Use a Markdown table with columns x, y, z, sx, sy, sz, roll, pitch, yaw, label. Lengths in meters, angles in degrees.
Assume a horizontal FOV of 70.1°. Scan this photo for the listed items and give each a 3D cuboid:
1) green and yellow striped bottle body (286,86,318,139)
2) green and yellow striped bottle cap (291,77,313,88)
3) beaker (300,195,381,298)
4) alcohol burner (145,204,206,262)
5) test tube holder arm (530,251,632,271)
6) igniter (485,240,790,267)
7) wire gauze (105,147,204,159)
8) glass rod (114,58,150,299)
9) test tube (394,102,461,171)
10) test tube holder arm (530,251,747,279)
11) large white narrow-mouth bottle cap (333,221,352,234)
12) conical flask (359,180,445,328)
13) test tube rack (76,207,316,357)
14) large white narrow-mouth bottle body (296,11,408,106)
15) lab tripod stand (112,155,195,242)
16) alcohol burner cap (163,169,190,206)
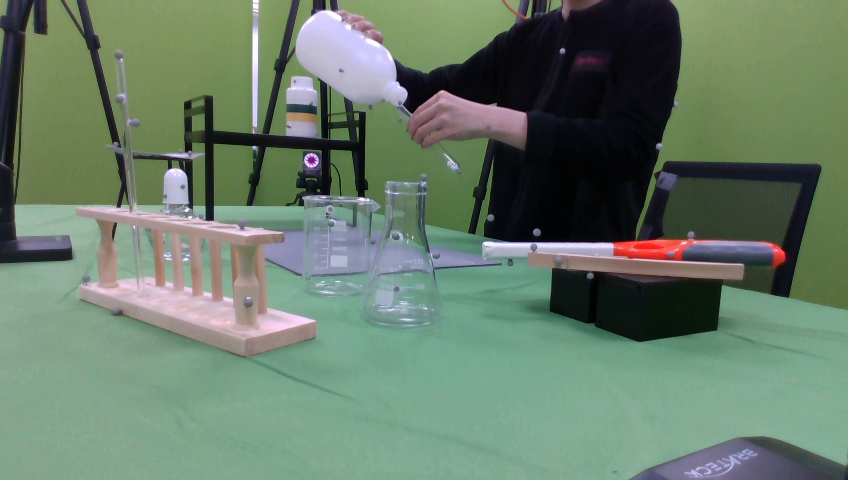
| x | y | z | sx | sy | sz | roll | pitch | yaw | label |
| --- | --- | --- | --- | --- | --- | --- | --- | --- | --- |
| -0.251 | -0.270 | 1.245 | 0.063 | 0.119 | 0.063 | 2 | 7 | 0 | green and yellow striped bottle body |
| -0.250 | -0.321 | 1.238 | 0.045 | 0.020 | 0.045 | 3 | 6 | 0 | green and yellow striped bottle cap |
| -0.087 | 0.006 | 0.626 | 0.084 | 0.100 | 0.074 | 1 | 8 | -17 | beaker |
| -0.322 | -0.032 | 0.788 | 0.078 | 0.119 | 0.078 | 0 | 7 | 0 | alcohol burner |
| 0.139 | 0.019 | 0.538 | 0.087 | 0.015 | 0.010 | 3 | 7 | 13 | test tube holder arm |
| 0.197 | 0.012 | 0.585 | 0.276 | 0.025 | 0.057 | 1 | 5 | 12 | igniter |
| -0.407 | -0.131 | 0.929 | 0.125 | 0.011 | 0.121 | 2 | 6 | -11 | wire gauze |
| -0.236 | -0.044 | 0.492 | 0.008 | 0.199 | 0.008 | 1 | 15 | 0 | glass rod |
| 0.005 | -0.160 | 0.934 | 0.150 | 0.017 | 0.017 | 48 | 26 | 17 | test tube |
| 0.182 | 0.022 | 0.523 | 0.178 | 0.015 | 0.013 | 3 | 7 | 12 | test tube holder arm |
| -0.152 | -0.024 | 1.134 | 0.038 | 0.024 | 0.037 | 4 | 7 | 0 | large white narrow-mouth bottle cap |
| -0.017 | 0.010 | 0.522 | 0.075 | 0.122 | 0.075 | 2 | 7 | 0 | conical flask |
| -0.196 | 0.023 | 0.500 | 0.241 | 0.085 | 0.067 | 8 | 9 | 36 | test tube rack |
| -0.107 | -0.281 | 0.978 | 0.194 | 0.101 | 0.102 | 38 | 19 | 15 | large white narrow-mouth bottle body |
| -0.405 | -0.064 | 0.931 | 0.148 | 0.131 | 0.148 | 1 | 6 | 0 | lab tripod stand |
| -0.321 | -0.068 | 0.782 | 0.034 | 0.048 | 0.034 | 1 | 7 | 0 | alcohol burner cap |
